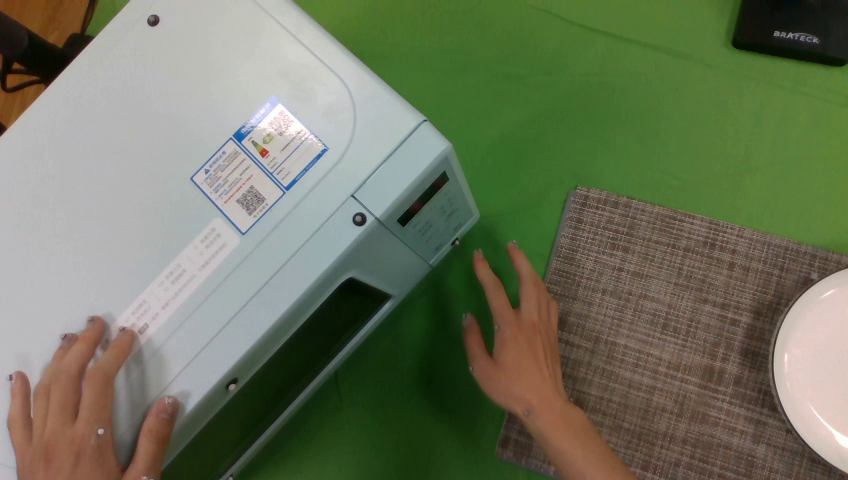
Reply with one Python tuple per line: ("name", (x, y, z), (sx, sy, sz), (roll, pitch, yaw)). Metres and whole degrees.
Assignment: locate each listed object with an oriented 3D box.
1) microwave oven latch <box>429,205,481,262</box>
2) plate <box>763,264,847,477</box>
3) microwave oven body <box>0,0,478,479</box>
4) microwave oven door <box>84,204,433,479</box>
("microwave oven latch", (0.027, -0.014, 0.654), (0.079, 0.029, 0.030), (-45, 76, 1))
("plate", (0.428, 0.124, 0.569), (0.207, 0.039, 0.206), (-2, 79, 10))
("microwave oven body", (-0.217, -0.001, 0.597), (0.324, 0.261, 0.441), (43, 90, 14))
("microwave oven door", (-0.145, 0.125, 0.555), (0.039, 0.245, 0.356), (43, 89, 16))
